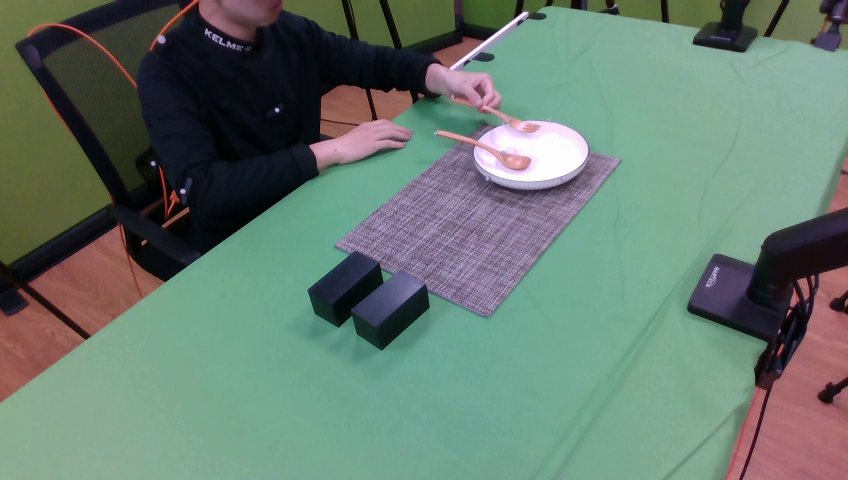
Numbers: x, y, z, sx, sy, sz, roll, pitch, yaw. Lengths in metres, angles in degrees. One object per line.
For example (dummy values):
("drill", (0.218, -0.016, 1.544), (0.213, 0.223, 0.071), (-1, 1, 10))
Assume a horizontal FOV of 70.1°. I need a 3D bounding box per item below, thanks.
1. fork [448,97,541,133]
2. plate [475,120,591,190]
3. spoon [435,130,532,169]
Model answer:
("fork", (0.130, -0.240, 1.150), (0.206, 0.019, 0.028), (29, 65, 27))
("plate", (0.196, -0.151, 1.099), (0.207, 0.039, 0.206), (-4, 40, 4))
("spoon", (0.106, -0.171, 1.112), (0.193, 0.022, 0.041), (25, 49, 16))
